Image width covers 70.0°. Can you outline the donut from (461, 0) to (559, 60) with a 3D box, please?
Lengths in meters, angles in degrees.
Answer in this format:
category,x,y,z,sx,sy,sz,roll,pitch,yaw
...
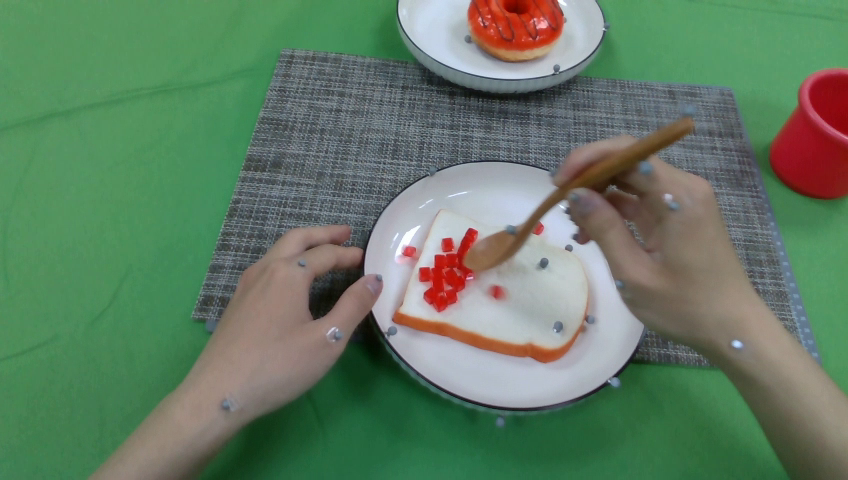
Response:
category,x,y,z,sx,sy,sz,roll,pitch,yaw
donut,0.085,-0.219,0.602,0.099,0.048,0.098,2,57,-3

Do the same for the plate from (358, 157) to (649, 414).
category,x,y,z,sx,sy,sz,roll,pitch,yaw
plate,0.056,0.028,0.447,0.209,0.038,0.207,2,57,-2

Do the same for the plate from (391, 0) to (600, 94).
category,x,y,z,sx,sy,sz,roll,pitch,yaw
plate,0.070,-0.215,0.612,0.208,0.039,0.205,2,54,-3

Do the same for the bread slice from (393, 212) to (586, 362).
category,x,y,z,sx,sy,sz,roll,pitch,yaw
bread slice,0.054,0.033,0.448,0.131,0.019,0.104,14,56,9

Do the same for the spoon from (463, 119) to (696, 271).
category,x,y,z,sx,sy,sz,roll,pitch,yaw
spoon,0.079,-0.021,0.360,0.022,0.194,0.041,42,56,-4
